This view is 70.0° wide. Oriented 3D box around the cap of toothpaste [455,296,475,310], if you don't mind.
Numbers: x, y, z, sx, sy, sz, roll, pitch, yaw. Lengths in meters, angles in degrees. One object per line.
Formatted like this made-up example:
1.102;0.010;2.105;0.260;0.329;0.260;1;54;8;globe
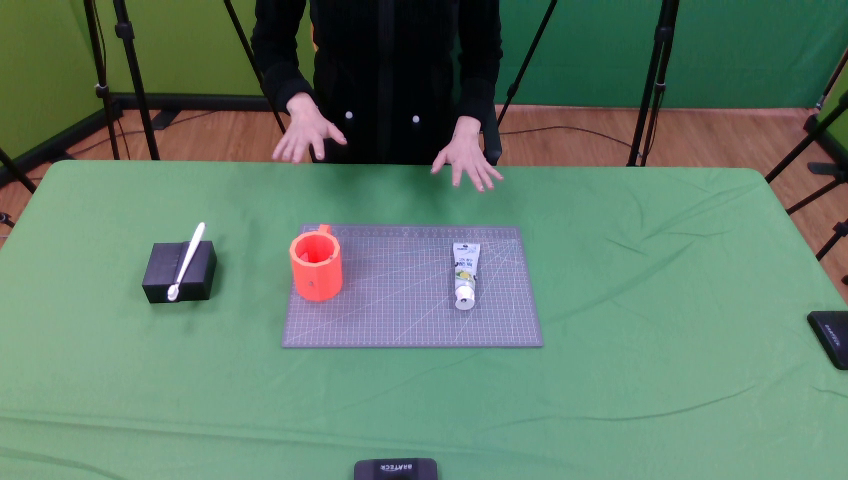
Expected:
0.072;0.111;1.081;0.037;0.037;0.011;-2;47;-6;cap of toothpaste

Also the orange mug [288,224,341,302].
-0.192;0.034;1.094;0.083;0.101;0.125;7;50;2;orange mug

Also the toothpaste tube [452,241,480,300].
0.079;0.058;1.142;0.055;0.034;0.164;9;42;-4;toothpaste tube

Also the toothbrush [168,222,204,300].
-0.419;0.032;1.070;0.014;0.017;0.180;2;46;2;toothbrush
